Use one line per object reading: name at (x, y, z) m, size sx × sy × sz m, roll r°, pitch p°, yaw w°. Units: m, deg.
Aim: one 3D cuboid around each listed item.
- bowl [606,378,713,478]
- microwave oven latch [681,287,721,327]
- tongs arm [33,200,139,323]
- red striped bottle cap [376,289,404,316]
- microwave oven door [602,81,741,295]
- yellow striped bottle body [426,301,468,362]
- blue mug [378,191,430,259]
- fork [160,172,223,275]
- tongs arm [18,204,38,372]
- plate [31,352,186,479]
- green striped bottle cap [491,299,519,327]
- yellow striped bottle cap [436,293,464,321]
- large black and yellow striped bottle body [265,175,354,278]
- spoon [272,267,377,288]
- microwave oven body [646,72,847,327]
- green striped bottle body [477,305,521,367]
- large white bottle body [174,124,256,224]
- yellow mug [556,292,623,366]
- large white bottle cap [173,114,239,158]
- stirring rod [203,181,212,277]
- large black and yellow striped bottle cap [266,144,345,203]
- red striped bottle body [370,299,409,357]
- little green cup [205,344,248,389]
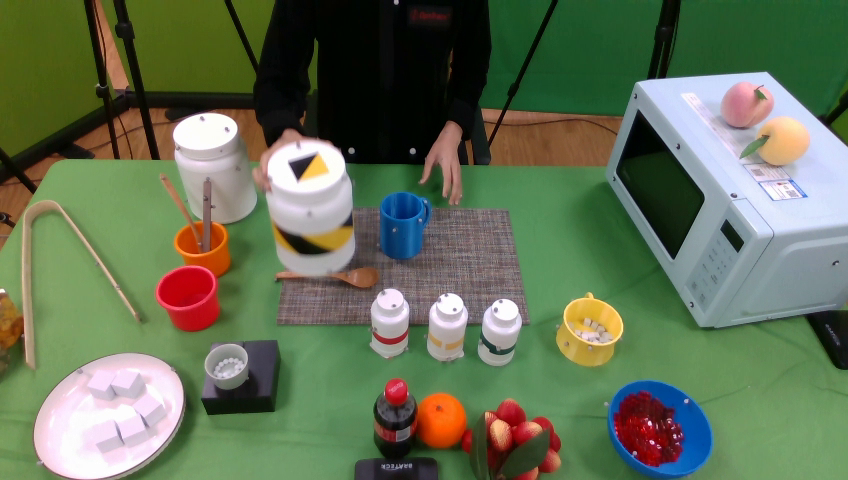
bowl at (0.340, 0.292, 0.906) m, size 0.151 × 0.077 × 0.150 m, roll 2°, pitch 46°, yaw -2°
microwave oven latch at (0.494, 0.119, 1.087) m, size 0.030 × 0.029 × 0.078 m, roll -6°, pitch 46°, yaw -9°
tongs arm at (-0.622, 0.034, 1.105) m, size 0.051 × 0.026 × 0.382 m, roll -33°, pitch 56°, yaw -24°
red striped bottle cap at (-0.054, 0.098, 0.958) m, size 0.044 × 0.018 × 0.044 m, roll 0°, pitch 48°, yaw 1°
microwave oven door at (0.456, -0.107, 1.162) m, size 0.039 × 0.245 × 0.353 m, roll -7°, pitch 47°, yaw -11°
yellow striped bottle body at (0.037, 0.143, 0.996) m, size 0.063 × 0.121 × 0.062 m, roll 3°, pitch 46°, yaw -3°
blue mug at (-0.034, -0.035, 1.166) m, size 0.116 × 0.106 × 0.082 m, roll -30°, pitch 56°, yaw -29°
fork at (-0.426, -0.030, 1.103) m, size 0.028 × 0.018 × 0.207 m, roll -30°, pitch 99°, yaw -23°
tongs arm at (-0.698, 0.072, 1.071) m, size 0.028 × 0.028 × 0.385 m, roll -22°, pitch 51°, yaw -12°
plate at (-0.459, 0.262, 0.898) m, size 0.209 × 0.038 × 0.208 m, roll 2°, pitch 45°, yaw -2°
green striped bottle cap at (0.128, 0.115, 0.958) m, size 0.044 × 0.020 × 0.044 m, roll 1°, pitch 46°, yaw 0°
yellow striped bottle cap at (0.041, 0.106, 0.959) m, size 0.044 × 0.019 × 0.044 m, roll 0°, pitch 50°, yaw 0°
large black and yellow striped bottle body at (-0.179, -0.043, 0.960) m, size 0.131 × 0.185 × 0.130 m, roll 2°, pitch 48°, yaw -2°
spoon at (-0.183, 0.065, 1.115) m, size 0.194 × 0.022 × 0.041 m, roll 3°, pitch 69°, yaw -2°
microwave oven body at (0.607, -0.089, 1.164) m, size 0.326 × 0.261 × 0.438 m, roll -7°, pitch 46°, yaw -10°
green striped bottle body at (0.124, 0.151, 0.995) m, size 0.063 × 0.120 × 0.063 m, roll 2°, pitch 46°, yaw -2°
large white bottle body at (-0.408, -0.137, 1.183) m, size 0.131 × 0.185 × 0.130 m, roll 2°, pitch 46°, yaw -2°
yellow mug at (0.285, 0.145, 1.051) m, size 0.100 × 0.064 × 0.130 m, roll 7°, pitch 45°, yaw 3°
large white bottle cap at (-0.403, -0.195, 1.122) m, size 0.115 × 0.018 × 0.114 m, roll 2°, pitch 47°, yaw -2°
stirring rod at (-0.396, -0.021, 1.108) m, size 0.014 × 0.006 × 0.176 m, roll -1°, pitch 90°, yaw 0°
large black and yellow striped bottle cap at (-0.175, -0.101, 0.898) m, size 0.115 × 0.019 × 0.114 m, roll 3°, pitch 49°, yaw -3°
red striped bottle body at (-0.057, 0.135, 0.996) m, size 0.063 × 0.120 × 0.062 m, roll 2°, pitch 47°, yaw -2°
little green cup at (-0.294, 0.192, 0.909) m, size 0.061 × 0.039 × 0.061 m, roll 2°, pitch 47°, yaw -2°
